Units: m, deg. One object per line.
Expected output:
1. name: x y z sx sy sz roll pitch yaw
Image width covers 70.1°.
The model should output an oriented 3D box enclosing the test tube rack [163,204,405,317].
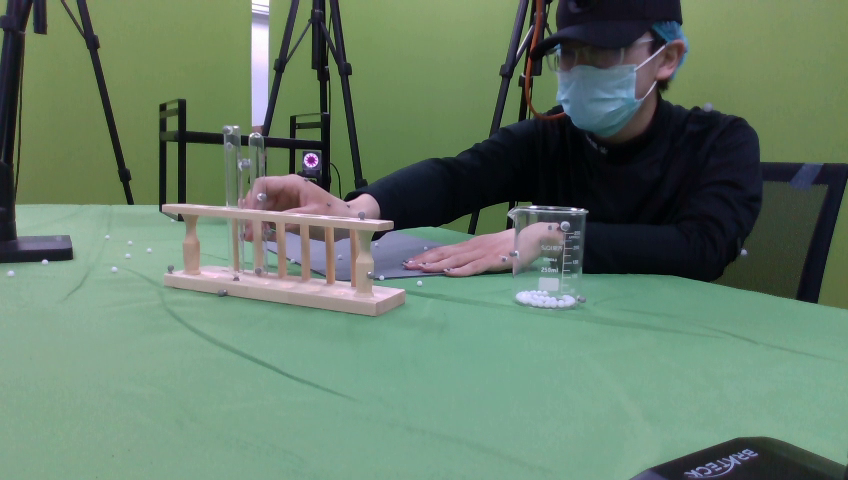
1. test tube rack: -0.141 0.013 0.601 0.241 0.085 0.067 5 8 21

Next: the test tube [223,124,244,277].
1. test tube: -0.186 -0.037 0.591 0.017 0.150 0.017 1 11 0

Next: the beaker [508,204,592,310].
1. beaker: 0.125 0.016 0.613 0.084 0.100 0.074 1 7 -5

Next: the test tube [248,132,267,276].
1. test tube: -0.173 -0.036 0.628 0.017 0.150 0.017 0 7 0
